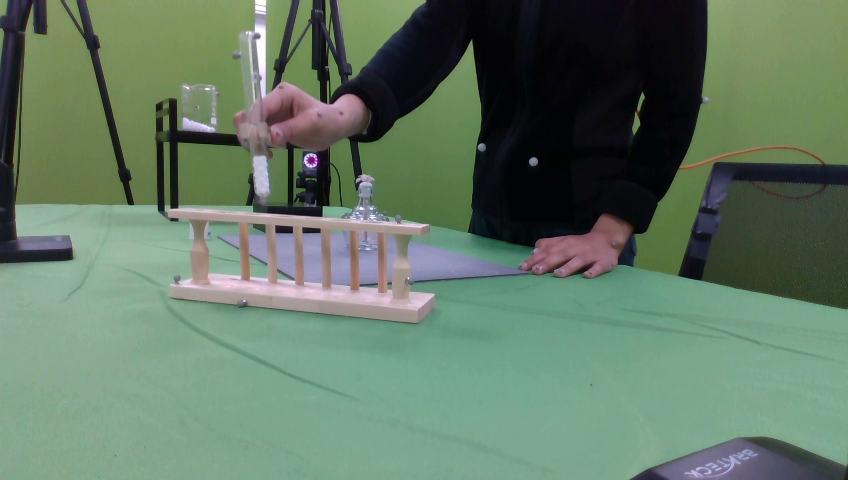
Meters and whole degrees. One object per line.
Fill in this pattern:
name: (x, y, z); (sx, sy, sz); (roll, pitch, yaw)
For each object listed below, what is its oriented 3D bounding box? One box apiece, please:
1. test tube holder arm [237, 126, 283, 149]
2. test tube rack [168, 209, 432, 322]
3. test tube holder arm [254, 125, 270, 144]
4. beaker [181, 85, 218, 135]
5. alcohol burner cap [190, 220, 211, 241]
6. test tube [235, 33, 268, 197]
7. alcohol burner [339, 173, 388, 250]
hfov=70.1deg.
test tube holder arm: (-0.167, -0.106, 0.631); (0.013, 0.015, 0.178); (-3, 6, -4)
test tube rack: (-0.116, 0.018, 0.573); (0.242, 0.085, 0.067); (4, 7, 14)
test tube holder arm: (-0.157, -0.102, 0.587); (0.010, 0.015, 0.087); (-4, 7, -11)
beaker: (-0.479, -0.276, 1.290); (0.074, 0.100, 0.084); (2, 8, -1)
alcohol burner cap: (-0.365, -0.023, 0.987); (0.034, 0.048, 0.034); (2, 7, 0)
test tube: (-0.160, -0.115, 0.563); (0.017, 0.150, 0.017); (-5, 5, 1)
alcohol burner: (-0.094, -0.045, 0.939); (0.078, 0.119, 0.078); (0, 7, 0)
